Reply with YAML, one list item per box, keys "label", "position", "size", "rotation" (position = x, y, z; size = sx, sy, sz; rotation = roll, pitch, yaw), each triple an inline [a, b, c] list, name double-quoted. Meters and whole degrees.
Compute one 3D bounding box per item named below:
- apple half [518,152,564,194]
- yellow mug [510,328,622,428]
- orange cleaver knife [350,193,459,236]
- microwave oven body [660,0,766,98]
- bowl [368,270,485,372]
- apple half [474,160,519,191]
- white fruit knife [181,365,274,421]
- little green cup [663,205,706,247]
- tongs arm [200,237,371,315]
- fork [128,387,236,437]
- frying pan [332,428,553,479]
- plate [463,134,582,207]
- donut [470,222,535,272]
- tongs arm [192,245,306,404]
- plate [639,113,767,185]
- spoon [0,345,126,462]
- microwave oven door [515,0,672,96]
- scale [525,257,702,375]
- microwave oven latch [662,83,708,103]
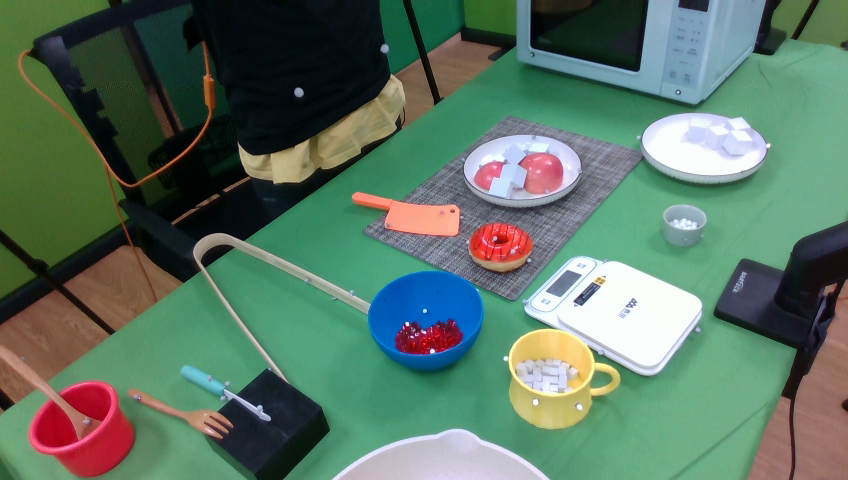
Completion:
- label: "apple half"
  position: [0.204, -0.124, 1.048]
  size: [0.075, 0.053, 0.080]
  rotation: [-6, 41, -3]
- label: "yellow mug"
  position: [0.168, 0.164, 0.722]
  size: [0.130, 0.064, 0.099]
  rotation: [0, 40, 8]
- label: "orange cleaver knife"
  position: [-0.037, -0.044, 1.028]
  size: [0.210, 0.012, 0.077]
  rotation: [10, 49, 17]
- label: "microwave oven body"
  position: [0.472, -0.513, 1.317]
  size: [0.438, 0.261, 0.327]
  rotation: [26, 51, 34]
- label: "bowl"
  position: [0.007, 0.118, 0.791]
  size: [0.151, 0.077, 0.150]
  rotation: [-4, 40, 4]
- label: "apple half"
  position: [0.130, -0.120, 1.068]
  size: [0.081, 0.033, 0.081]
  rotation: [-3, 36, 3]
- label: "white fruit knife"
  position: [-0.245, 0.187, 0.747]
  size: [0.205, 0.027, 0.016]
  rotation: [9, 41, 40]
- label: "little green cup"
  position: [0.396, -0.021, 0.926]
  size: [0.061, 0.039, 0.061]
  rotation: [-4, 40, 4]
- label: "tongs arm"
  position: [-0.209, 0.063, 0.924]
  size: [0.381, 0.027, 0.051]
  rotation: [22, 53, 32]
- label: "fork"
  position: [-0.305, 0.207, 0.744]
  size: [0.206, 0.019, 0.028]
  rotation: [3, 41, 36]
- label: "frying pan"
  position: [-0.089, 0.306, 0.564]
  size: [0.487, 0.103, 0.306]
  rotation: [10, 41, 7]
- label: "plate"
  position: [0.173, -0.119, 1.070]
  size: [0.209, 0.038, 0.208]
  rotation: [-4, 40, 4]
- label: "donut"
  position: [0.119, 0.009, 0.923]
  size: [0.099, 0.048, 0.098]
  rotation: [-4, 38, 3]
- label: "tongs arm"
  position: [-0.267, 0.111, 0.884]
  size: [0.028, 0.028, 0.384]
  rotation: [-37, 47, -18]
- label: "plate"
  position: [0.489, -0.157, 1.074]
  size: [0.207, 0.039, 0.206]
  rotation: [-4, 40, 4]
- label: "spoon"
  position: [-0.434, 0.192, 0.720]
  size: [0.194, 0.021, 0.042]
  rotation: [47, 55, -7]
- label: "microwave oven door"
  position: [0.343, -0.454, 1.259]
  size: [0.353, 0.245, 0.039]
  rotation: [26, 51, 33]
- label: "scale"
  position: [0.254, 0.091, 0.821]
  size: [0.199, 0.032, 0.149]
  rotation: [27, 51, 35]
- label: "microwave oven latch"
  position: [0.518, -0.296, 1.204]
  size: [0.078, 0.029, 0.030]
  rotation: [28, 52, 35]
